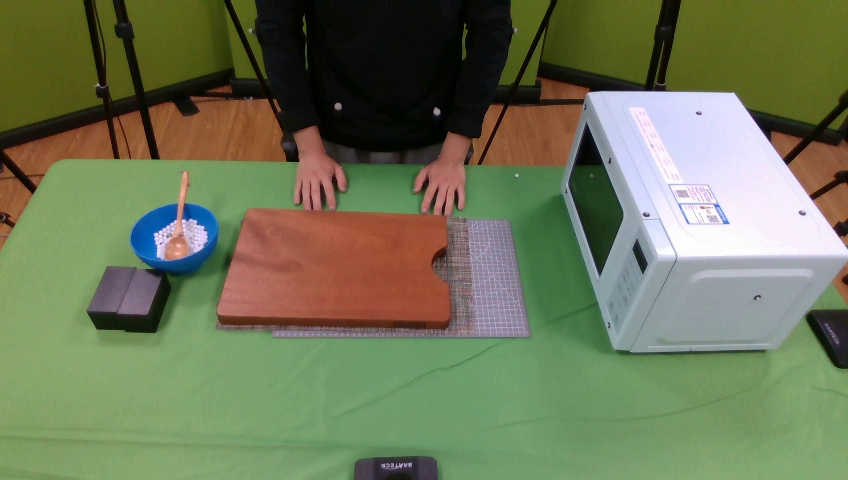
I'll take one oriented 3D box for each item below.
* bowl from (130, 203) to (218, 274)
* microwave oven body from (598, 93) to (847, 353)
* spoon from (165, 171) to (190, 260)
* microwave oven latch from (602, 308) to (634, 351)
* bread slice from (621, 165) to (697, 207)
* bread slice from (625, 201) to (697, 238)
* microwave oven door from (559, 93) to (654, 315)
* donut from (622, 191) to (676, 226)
[{"bbox_3d":[-0.450,0.010,1.117,0.151,0.077,0.150,3,45,-3],"label":"bowl"},{"bbox_3d":[0.475,-0.041,1.110,0.326,0.261,0.438,-1,45,-4],"label":"microwave oven body"},{"bbox_3d":[-0.452,-0.046,1.129,0.041,0.022,0.193,-1,69,-2],"label":"spoon"},{"bbox_3d":[0.332,0.153,1.044,0.030,0.029,0.078,-1,45,-4],"label":"microwave oven latch"},{"bbox_3d":[0.447,-0.102,1.147,0.135,0.018,0.106,2,41,-22],"label":"bread slice"},{"bbox_3d":[0.468,-0.043,1.198,0.131,0.019,0.104,2,39,10],"label":"bread slice"},{"bbox_3d":[0.327,-0.074,1.123,0.039,0.245,0.353,-1,46,-5],"label":"microwave oven door"},{"bbox_3d":[0.436,-0.061,1.174,0.099,0.048,0.098,-7,28,4],"label":"donut"}]
